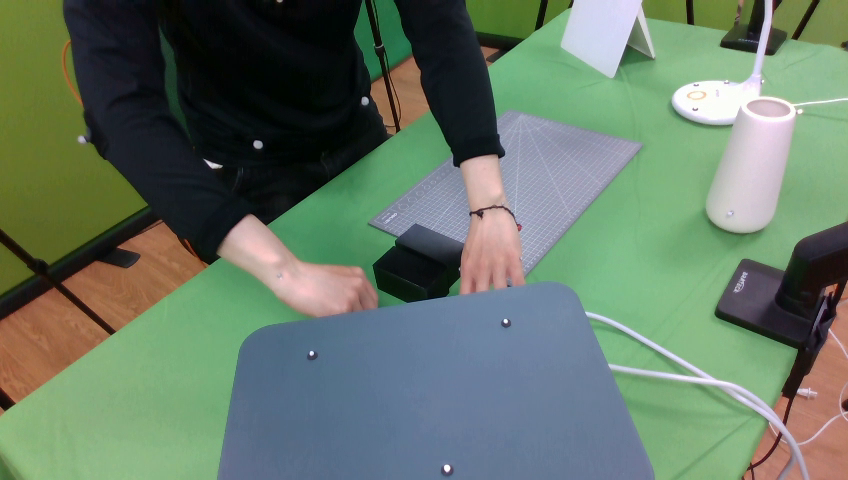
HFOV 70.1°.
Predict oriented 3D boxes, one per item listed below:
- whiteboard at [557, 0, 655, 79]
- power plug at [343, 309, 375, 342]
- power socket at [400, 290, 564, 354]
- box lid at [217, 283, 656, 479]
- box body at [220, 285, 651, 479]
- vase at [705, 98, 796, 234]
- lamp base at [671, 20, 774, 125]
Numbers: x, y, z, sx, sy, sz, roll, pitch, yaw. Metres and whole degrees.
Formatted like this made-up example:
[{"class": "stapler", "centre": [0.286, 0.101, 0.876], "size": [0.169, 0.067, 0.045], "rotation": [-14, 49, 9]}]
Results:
[{"class": "whiteboard", "centre": [0.462, -0.542, 1.367], "size": [0.145, 0.306, 0.215], "rotation": [-3, 36, -25]}, {"class": "power plug", "centre": [-0.085, 0.122, 0.795], "size": [0.035, 0.053, 0.072], "rotation": [-16, 46, -7]}, {"class": "power socket", "centre": [0.079, 0.111, 0.823], "size": [0.227, 0.033, 0.072], "rotation": [-6, 41, 1]}, {"class": "box lid", "centre": [-0.004, 0.155, 0.568], "size": [0.372, 0.015, 0.261], "rotation": [-8, 39, -2]}, {"class": "box body", "centre": [0.005, 0.211, 0.616], "size": [0.364, 0.161, 0.252], "rotation": [-9, 40, -2]}, {"class": "vase", "centre": [0.480, -0.104, 0.889], "size": [0.098, 0.201, 0.097], "rotation": [-4, 42, 4]}, {"class": "lamp base", "centre": [0.581, -0.332, 1.154], "size": [0.179, 0.181, 0.160], "rotation": [2, 42, 7]}]
